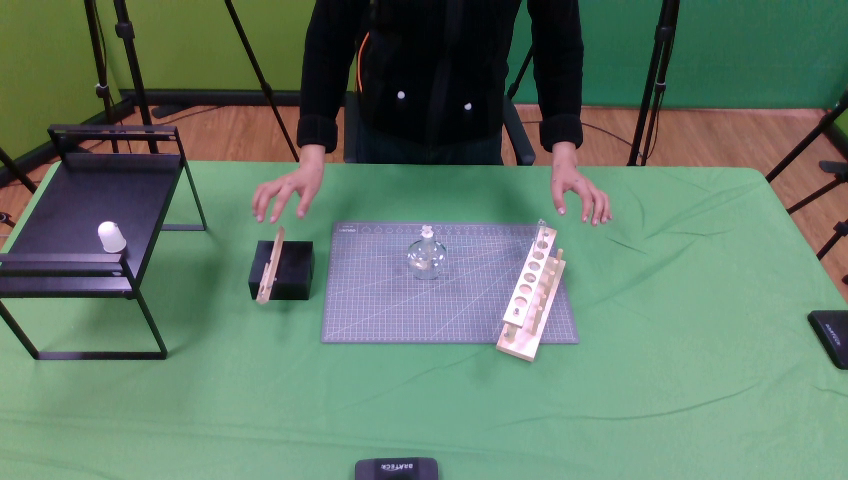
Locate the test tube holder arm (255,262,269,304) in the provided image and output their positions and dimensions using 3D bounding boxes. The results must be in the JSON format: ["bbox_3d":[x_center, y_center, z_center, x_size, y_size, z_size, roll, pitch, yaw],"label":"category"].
[{"bbox_3d":[-0.274,0.072,1.042,0.010,0.015,0.087,-21,41,23],"label":"test tube holder arm"}]

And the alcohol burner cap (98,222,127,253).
[{"bbox_3d":[-0.468,-0.007,0.904,0.034,0.048,0.033,3,45,-3],"label":"alcohol burner cap"}]

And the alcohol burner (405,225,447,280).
[{"bbox_3d":[0.004,0.017,1.115,0.078,0.120,0.077,1,47,-1],"label":"alcohol burner"}]

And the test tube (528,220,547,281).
[{"bbox_3d":[0.200,0.022,1.076,0.017,0.151,0.017,0,47,1],"label":"test tube"}]

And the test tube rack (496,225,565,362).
[{"bbox_3d":[0.200,0.089,1.081,0.066,0.085,0.241,19,48,13],"label":"test tube rack"}]

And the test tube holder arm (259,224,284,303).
[{"bbox_3d":[-0.268,0.038,1.071,0.013,0.015,0.177,-22,41,22],"label":"test tube holder arm"}]
